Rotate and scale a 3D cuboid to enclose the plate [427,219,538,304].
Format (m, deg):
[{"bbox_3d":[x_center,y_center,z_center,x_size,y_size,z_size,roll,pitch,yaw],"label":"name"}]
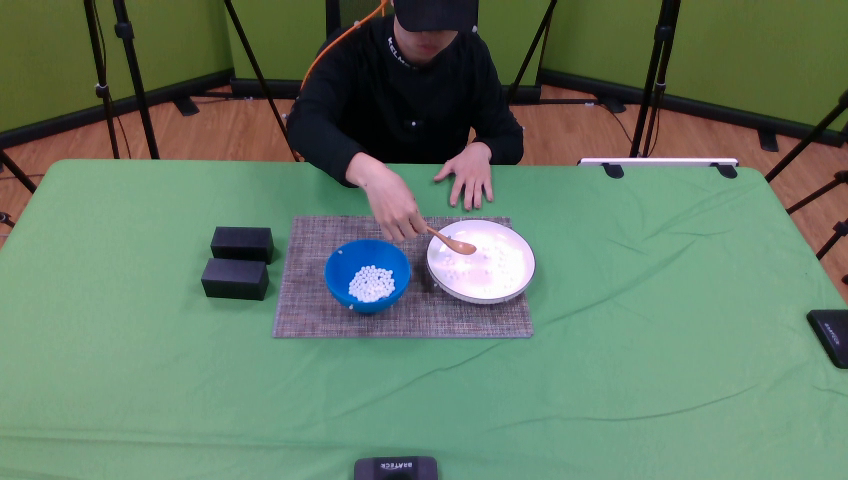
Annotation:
[{"bbox_3d":[0.109,0.044,1.149,0.208,0.039,0.206,2,46,-2],"label":"plate"}]

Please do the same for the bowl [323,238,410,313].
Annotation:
[{"bbox_3d":[-0.101,0.077,1.073,0.151,0.077,0.150,2,46,-2],"label":"bowl"}]

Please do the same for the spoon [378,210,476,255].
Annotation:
[{"bbox_3d":[0.007,-0.017,1.102,0.194,0.022,0.041,26,30,-13],"label":"spoon"}]
